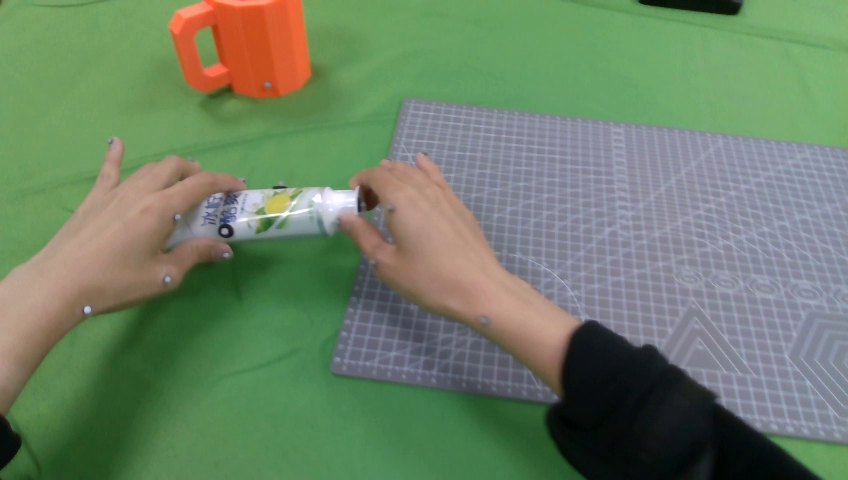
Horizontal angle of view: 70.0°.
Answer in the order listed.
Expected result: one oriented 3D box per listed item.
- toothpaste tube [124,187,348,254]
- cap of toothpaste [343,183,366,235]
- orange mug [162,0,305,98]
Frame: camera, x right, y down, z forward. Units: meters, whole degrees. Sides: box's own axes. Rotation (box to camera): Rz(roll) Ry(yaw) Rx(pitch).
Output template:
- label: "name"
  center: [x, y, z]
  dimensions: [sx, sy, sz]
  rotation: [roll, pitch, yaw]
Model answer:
- label: "toothpaste tube"
  center: [-0.127, -0.018, 0.429]
  dimensions: [0.165, 0.035, 0.054]
  rotation: [-4, 51, 3]
- label: "cap of toothpaste"
  center: [-0.048, -0.022, 0.423]
  dimensions: [0.011, 0.038, 0.037]
  rotation: [-4, 50, 3]
- label: "orange mug"
  center: [-0.174, -0.191, 0.561]
  dimensions: [0.126, 0.101, 0.083]
  rotation: [-31, 58, -30]
